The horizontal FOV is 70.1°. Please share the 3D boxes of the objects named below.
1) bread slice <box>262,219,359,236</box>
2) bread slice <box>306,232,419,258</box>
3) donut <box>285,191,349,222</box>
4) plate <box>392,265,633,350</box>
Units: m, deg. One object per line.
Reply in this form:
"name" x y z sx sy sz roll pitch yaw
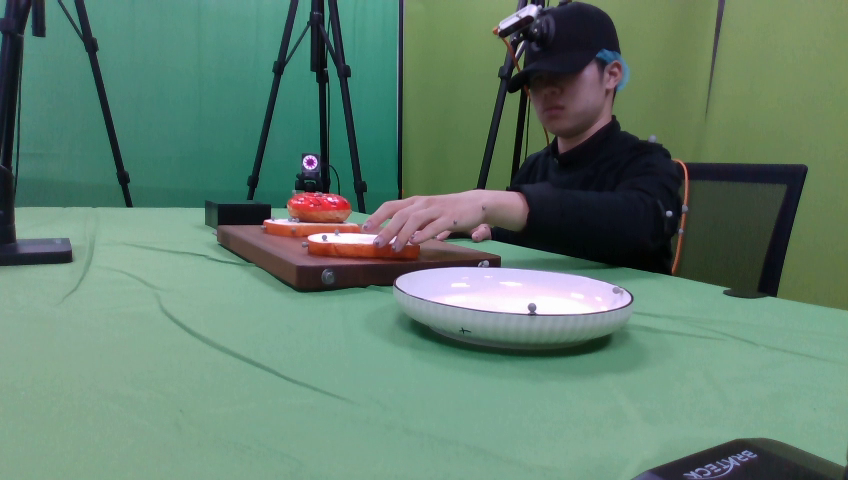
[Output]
"bread slice" -0.179 -0.021 0.931 0.132 0.019 0.104 -1 7 -35
"bread slice" -0.077 0.005 0.747 0.135 0.018 0.106 2 7 -12
"donut" -0.165 -0.051 0.936 0.099 0.048 0.099 4 9 0
"plate" 0.074 0.057 0.533 0.209 0.038 0.209 3 7 0
